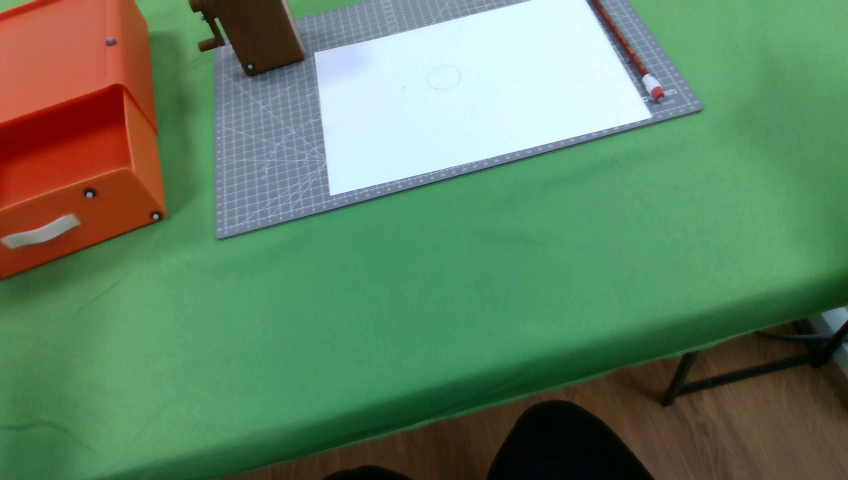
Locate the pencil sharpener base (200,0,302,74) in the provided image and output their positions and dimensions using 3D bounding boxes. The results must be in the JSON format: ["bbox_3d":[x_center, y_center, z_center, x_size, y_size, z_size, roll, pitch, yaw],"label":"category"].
[{"bbox_3d":[-0.183,-0.239,0.635,0.077,0.108,0.060,-20,55,-3],"label":"pencil sharpener base"}]

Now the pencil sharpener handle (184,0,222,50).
[{"bbox_3d":[-0.233,-0.228,0.622,0.030,0.068,0.035,-20,52,-3],"label":"pencil sharpener handle"}]

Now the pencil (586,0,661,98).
[{"bbox_3d":[0.190,-0.205,0.603,0.012,0.012,0.192,-16,53,0],"label":"pencil"}]

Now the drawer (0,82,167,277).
[{"bbox_3d":[-0.364,-0.082,0.582,0.194,0.074,0.209,-22,54,-4],"label":"drawer"}]

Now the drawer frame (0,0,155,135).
[{"bbox_3d":[-0.405,-0.170,0.647,0.202,0.083,0.211,-21,54,-4],"label":"drawer frame"}]
